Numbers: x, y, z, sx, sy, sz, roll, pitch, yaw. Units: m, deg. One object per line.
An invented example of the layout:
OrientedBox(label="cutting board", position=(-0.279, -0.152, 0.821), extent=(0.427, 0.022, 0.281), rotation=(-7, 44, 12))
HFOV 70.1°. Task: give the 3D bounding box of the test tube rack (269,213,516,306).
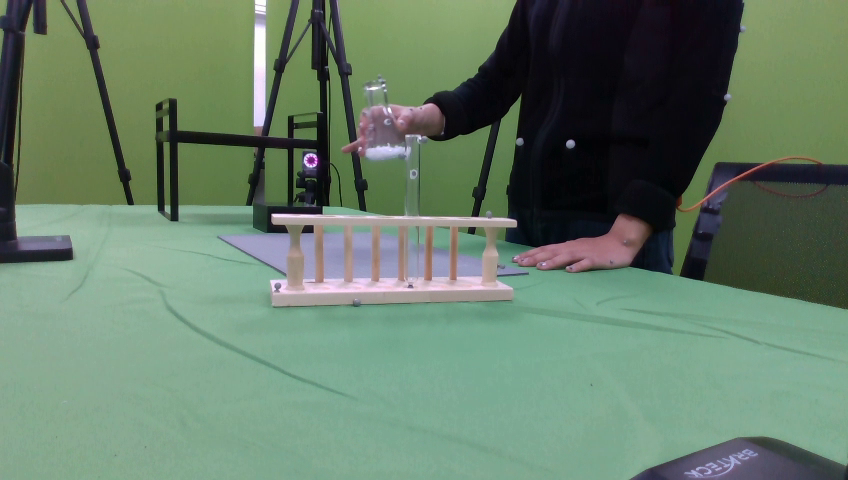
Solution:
OrientedBox(label="test tube rack", position=(-0.032, 0.015, 0.617), extent=(0.243, 0.085, 0.066), rotation=(0, 7, -17))

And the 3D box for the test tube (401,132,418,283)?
OrientedBox(label="test tube", position=(-0.014, -0.031, 0.596), extent=(0.017, 0.150, 0.017), rotation=(1, 11, 0))

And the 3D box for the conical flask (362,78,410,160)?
OrientedBox(label="conical flask", position=(-0.069, -0.191, 0.954), extent=(0.075, 0.122, 0.075), rotation=(-10, 10, 2))
